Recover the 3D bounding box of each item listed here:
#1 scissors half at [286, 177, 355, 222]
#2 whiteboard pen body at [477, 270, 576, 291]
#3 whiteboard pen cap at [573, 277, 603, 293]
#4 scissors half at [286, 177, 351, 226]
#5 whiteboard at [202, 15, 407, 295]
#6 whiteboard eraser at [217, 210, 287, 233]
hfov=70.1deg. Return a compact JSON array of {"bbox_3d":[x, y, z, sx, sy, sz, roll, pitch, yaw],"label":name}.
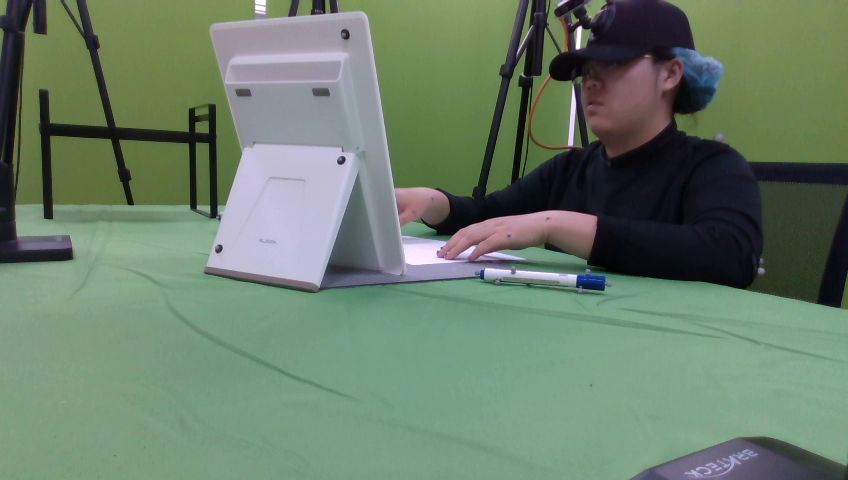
[{"bbox_3d":[-0.229,-0.091,1.337,0.175,0.013,0.040,33,13,-13],"label":"scissors half"},{"bbox_3d":[0.131,0.048,0.706,0.140,0.017,0.017,4,8,18],"label":"whiteboard pen body"},{"bbox_3d":[0.186,0.051,0.687,0.033,0.018,0.018,4,8,17],"label":"whiteboard pen cap"},{"bbox_3d":[-0.232,-0.086,1.317,0.175,0.013,0.040,37,18,5],"label":"scissors half"},{"bbox_3d":[-0.167,-0.073,0.668,0.216,0.305,0.144,7,30,28],"label":"whiteboard"},{"bbox_3d":[-0.310,-0.034,1.094,0.113,0.042,0.055,-2,11,-38],"label":"whiteboard eraser"}]
